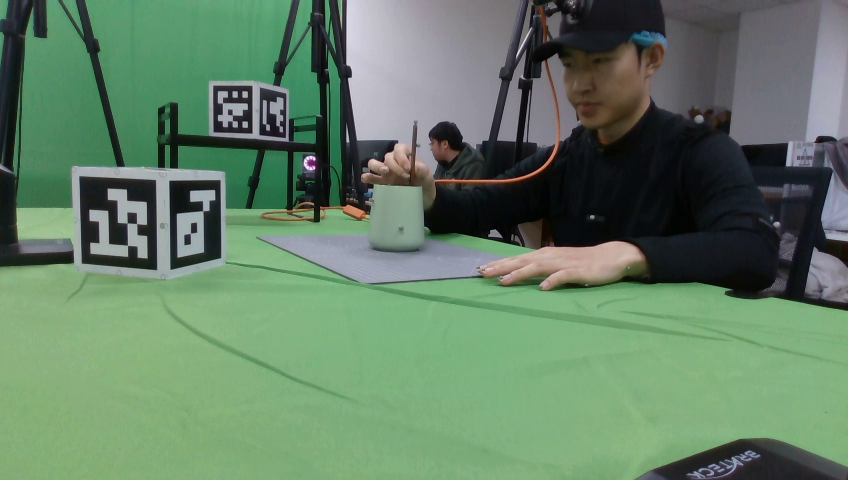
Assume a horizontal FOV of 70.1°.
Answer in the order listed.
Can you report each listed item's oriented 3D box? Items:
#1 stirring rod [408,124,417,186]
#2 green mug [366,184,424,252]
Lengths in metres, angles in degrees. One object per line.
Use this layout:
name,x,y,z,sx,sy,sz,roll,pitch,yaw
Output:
stirring rod,-0.021,-0.096,0.964,0.006,0.176,0.014,1,11,-16
green mug,-0.054,-0.039,0.989,0.093,0.105,0.124,-1,8,-30
